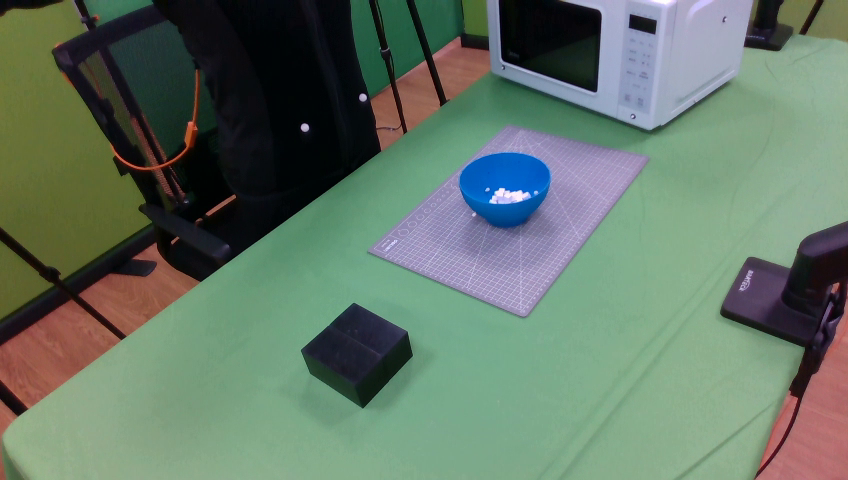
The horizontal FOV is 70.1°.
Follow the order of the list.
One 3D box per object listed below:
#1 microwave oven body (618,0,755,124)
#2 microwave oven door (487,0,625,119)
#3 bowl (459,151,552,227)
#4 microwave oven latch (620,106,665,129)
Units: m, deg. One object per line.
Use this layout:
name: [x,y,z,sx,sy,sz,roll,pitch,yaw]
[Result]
microwave oven body: [0.402,-0.458,1.259,0.327,0.261,0.437,-33,45,-24]
microwave oven door: [0.262,-0.409,1.221,0.039,0.245,0.352,-33,45,-25]
bowl: [0.136,-0.074,1.000,0.151,0.077,0.150,-5,40,5]
microwave oven latch: [0.412,-0.237,1.146,0.030,0.029,0.078,-32,44,-24]
